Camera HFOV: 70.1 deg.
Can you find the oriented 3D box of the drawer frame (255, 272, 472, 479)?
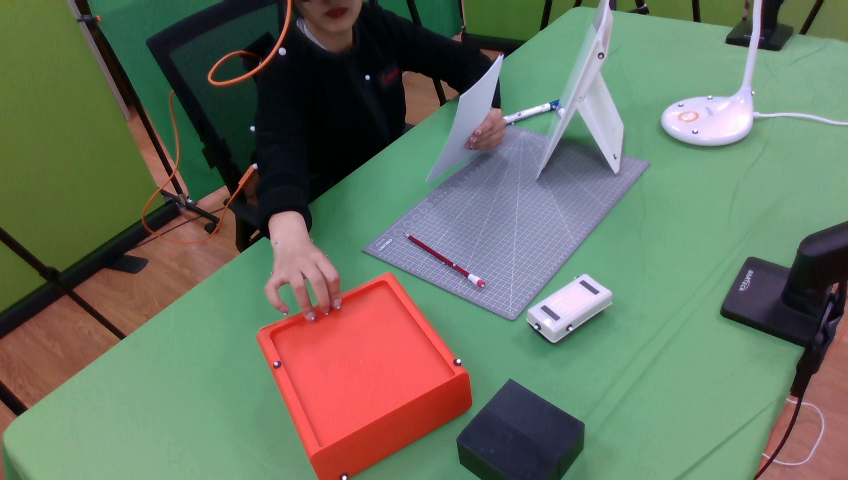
[{"bbox_3d":[-0.079,0.161,0.760,0.202,0.083,0.211,-24,43,-18],"label":"drawer frame"}]

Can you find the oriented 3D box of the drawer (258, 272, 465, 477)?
[{"bbox_3d":[-0.082,0.159,0.765,0.195,0.073,0.210,-23,43,-17],"label":"drawer"}]

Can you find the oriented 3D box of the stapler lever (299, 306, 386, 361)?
[{"bbox_3d":[-0.108,0.123,0.800,0.118,0.040,0.026,-18,38,-13],"label":"stapler lever"}]

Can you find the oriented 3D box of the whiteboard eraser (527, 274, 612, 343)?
[{"bbox_3d":[0.198,0.094,0.820,0.113,0.042,0.055,-30,43,-22],"label":"whiteboard eraser"}]

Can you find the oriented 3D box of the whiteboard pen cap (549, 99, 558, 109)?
[{"bbox_3d":[0.275,-0.287,1.269,0.033,0.018,0.018,-17,41,-14],"label":"whiteboard pen cap"}]

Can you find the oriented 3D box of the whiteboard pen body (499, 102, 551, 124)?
[{"bbox_3d":[0.221,-0.268,1.256,0.141,0.017,0.017,-20,41,-13],"label":"whiteboard pen body"}]

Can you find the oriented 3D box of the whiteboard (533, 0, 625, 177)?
[{"bbox_3d":[0.321,-0.258,1.049,0.144,0.306,0.217,20,45,4],"label":"whiteboard"}]

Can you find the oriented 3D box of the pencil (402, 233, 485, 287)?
[{"bbox_3d":[0.026,0.027,0.949,0.012,0.012,0.192,-34,45,-26],"label":"pencil"}]

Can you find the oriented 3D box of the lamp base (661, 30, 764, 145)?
[{"bbox_3d":[0.535,-0.287,1.096,0.179,0.181,0.159,-10,40,-4],"label":"lamp base"}]

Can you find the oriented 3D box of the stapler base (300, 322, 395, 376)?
[{"bbox_3d":[-0.104,0.140,0.815,0.131,0.024,0.041,-20,38,-12],"label":"stapler base"}]
